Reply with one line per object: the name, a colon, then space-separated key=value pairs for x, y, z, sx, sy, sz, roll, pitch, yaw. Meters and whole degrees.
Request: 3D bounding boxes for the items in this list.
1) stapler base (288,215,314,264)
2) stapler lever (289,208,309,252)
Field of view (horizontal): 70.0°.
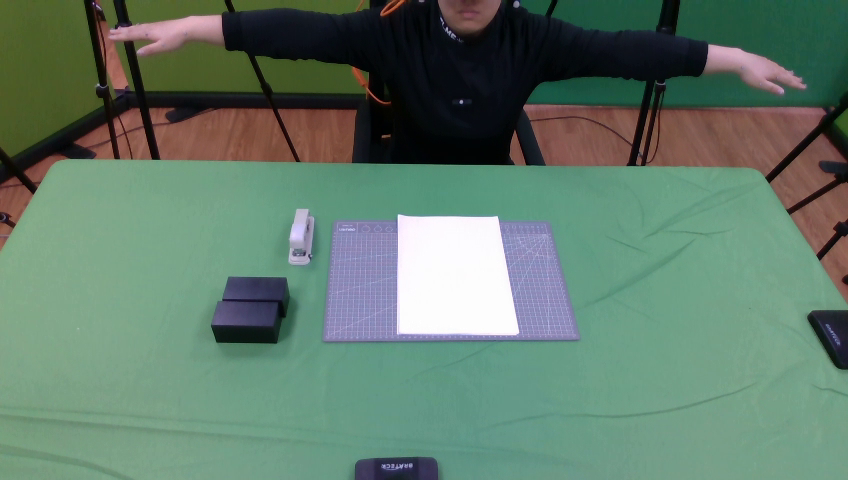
stapler base: x=-0.241 y=-0.007 z=1.184 sx=0.041 sy=0.024 sz=0.129 roll=1 pitch=44 yaw=-6
stapler lever: x=-0.240 y=-0.026 z=1.168 sx=0.027 sy=0.040 sz=0.117 roll=1 pitch=44 yaw=-6
